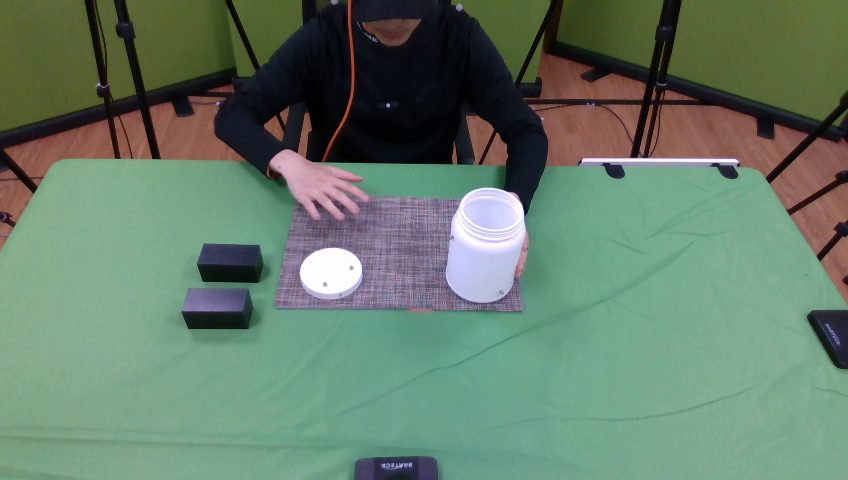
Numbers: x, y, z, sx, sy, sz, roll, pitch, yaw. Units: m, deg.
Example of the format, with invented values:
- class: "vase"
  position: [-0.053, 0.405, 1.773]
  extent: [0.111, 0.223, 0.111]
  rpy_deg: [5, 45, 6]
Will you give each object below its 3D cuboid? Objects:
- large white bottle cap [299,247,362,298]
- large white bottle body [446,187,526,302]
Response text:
- class: "large white bottle cap"
  position: [-0.173, 0.059, 1.124]
  extent: [0.115, 0.018, 0.114]
  rpy_deg: [2, 46, -2]
- class: "large white bottle body"
  position: [0.109, 0.008, 1.079]
  extent: [0.131, 0.185, 0.130]
  rpy_deg: [2, 47, -2]
